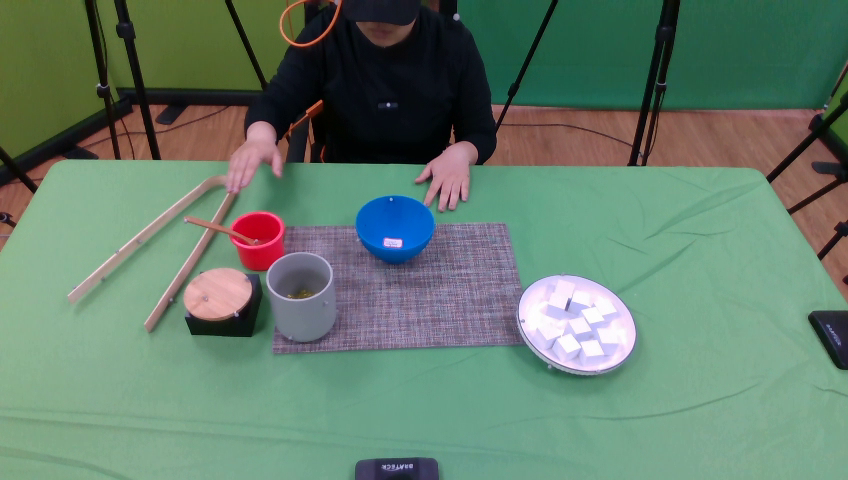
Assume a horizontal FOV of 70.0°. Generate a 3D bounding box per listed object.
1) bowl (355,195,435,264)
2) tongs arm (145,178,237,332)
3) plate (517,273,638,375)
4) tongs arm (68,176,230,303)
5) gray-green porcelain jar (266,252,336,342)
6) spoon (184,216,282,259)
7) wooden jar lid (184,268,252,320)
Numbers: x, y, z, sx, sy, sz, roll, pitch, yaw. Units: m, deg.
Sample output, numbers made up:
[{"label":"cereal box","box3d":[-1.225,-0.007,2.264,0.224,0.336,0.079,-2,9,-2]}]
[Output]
[{"label":"bowl","box3d":[-0.056,-0.008,1.158,0.151,0.077,0.150,2,46,-2]},{"label":"tongs arm","box3d":[-0.432,0.014,1.149,0.028,0.028,0.385,8,45,7]},{"label":"plate","box3d":[0.264,0.149,1.060,0.209,0.038,0.208,3,46,-3]},{"label":"tongs arm","box3d":[-0.510,-0.011,1.162,0.050,0.026,0.383,20,47,14]},{"label":"gray-green porcelain jar","box3d":[-0.202,0.100,1.009,0.106,0.127,0.105,2,46,-2]},{"label":"spoon","box3d":[-0.341,-0.008,1.096,0.021,0.195,0.041,-36,47,25]},{"label":"wooden jar lid","box3d":[-0.343,0.092,1.015,0.108,0.021,0.107,3,46,-3]}]
